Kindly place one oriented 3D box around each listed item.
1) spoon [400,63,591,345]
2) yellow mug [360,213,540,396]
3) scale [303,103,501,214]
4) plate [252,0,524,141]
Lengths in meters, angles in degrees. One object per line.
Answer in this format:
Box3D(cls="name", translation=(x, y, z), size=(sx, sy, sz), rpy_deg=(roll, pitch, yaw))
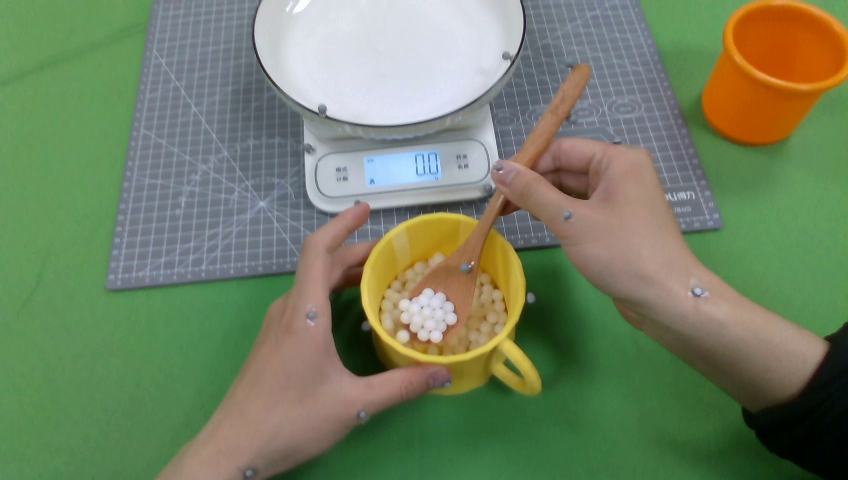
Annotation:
Box3D(cls="spoon", translation=(0.044, -0.020, 0.363), size=(0.041, 0.022, 0.194), rpy_deg=(36, 103, 24))
Box3D(cls="yellow mug", translation=(0.023, 0.051, 0.385), size=(0.130, 0.064, 0.100), rpy_deg=(41, 71, 19))
Box3D(cls="scale", translation=(-0.023, -0.117, 0.492), size=(0.149, 0.032, 0.199), rpy_deg=(-6, 62, -1))
Box3D(cls="plate", translation=(-0.027, -0.158, 0.477), size=(0.209, 0.038, 0.207), rpy_deg=(0, 62, 1))
